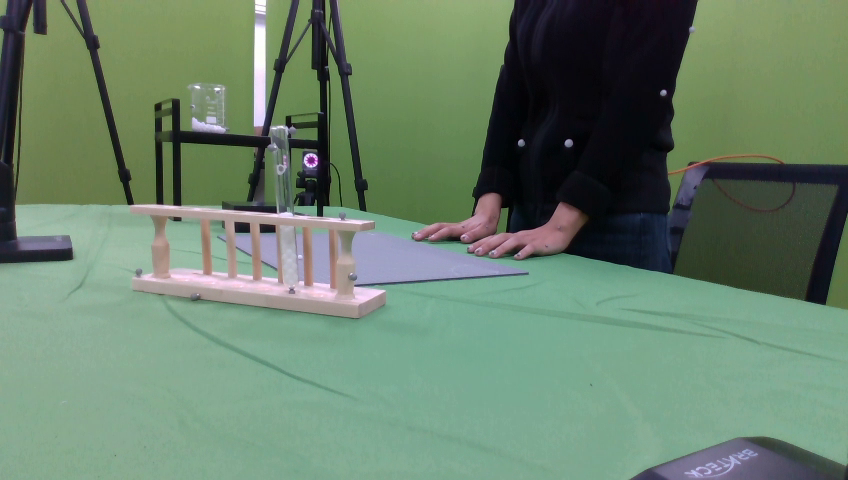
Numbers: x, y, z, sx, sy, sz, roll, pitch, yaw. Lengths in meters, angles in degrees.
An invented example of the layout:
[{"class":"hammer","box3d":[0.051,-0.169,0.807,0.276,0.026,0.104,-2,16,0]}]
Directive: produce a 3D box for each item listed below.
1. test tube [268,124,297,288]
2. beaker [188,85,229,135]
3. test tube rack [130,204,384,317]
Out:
[{"class":"test tube","box3d":[-0.130,-0.030,0.557,0.017,0.150,0.017,-3,5,1]},{"class":"beaker","box3d":[-0.457,-0.275,1.283,0.084,0.100,0.073,-5,9,-40]},{"class":"test tube rack","box3d":[-0.163,0.013,0.589,0.242,0.085,0.067,5,8,17]}]
